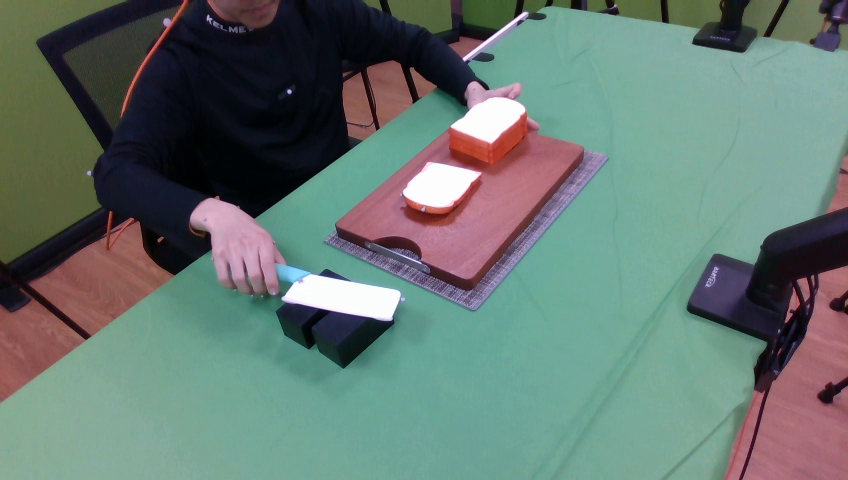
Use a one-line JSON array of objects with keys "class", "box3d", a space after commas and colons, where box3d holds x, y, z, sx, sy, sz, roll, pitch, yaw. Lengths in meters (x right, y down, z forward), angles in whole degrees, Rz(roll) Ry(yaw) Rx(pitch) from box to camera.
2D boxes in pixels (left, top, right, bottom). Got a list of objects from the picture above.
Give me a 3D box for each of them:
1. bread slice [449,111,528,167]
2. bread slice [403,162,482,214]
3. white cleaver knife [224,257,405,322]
[{"class": "bread slice", "box3d": [0.130, -0.196, 1.138, 0.134, 0.018, 0.106, -38, 50, -20]}, {"class": "bread slice", "box3d": [0.025, -0.087, 1.020, 0.104, 0.019, 0.132, 16, 40, 23]}, {"class": "white cleaver knife", "box3d": [-0.165, 0.066, 0.851, 0.285, 0.021, 0.066, 9, 42, 21]}]
